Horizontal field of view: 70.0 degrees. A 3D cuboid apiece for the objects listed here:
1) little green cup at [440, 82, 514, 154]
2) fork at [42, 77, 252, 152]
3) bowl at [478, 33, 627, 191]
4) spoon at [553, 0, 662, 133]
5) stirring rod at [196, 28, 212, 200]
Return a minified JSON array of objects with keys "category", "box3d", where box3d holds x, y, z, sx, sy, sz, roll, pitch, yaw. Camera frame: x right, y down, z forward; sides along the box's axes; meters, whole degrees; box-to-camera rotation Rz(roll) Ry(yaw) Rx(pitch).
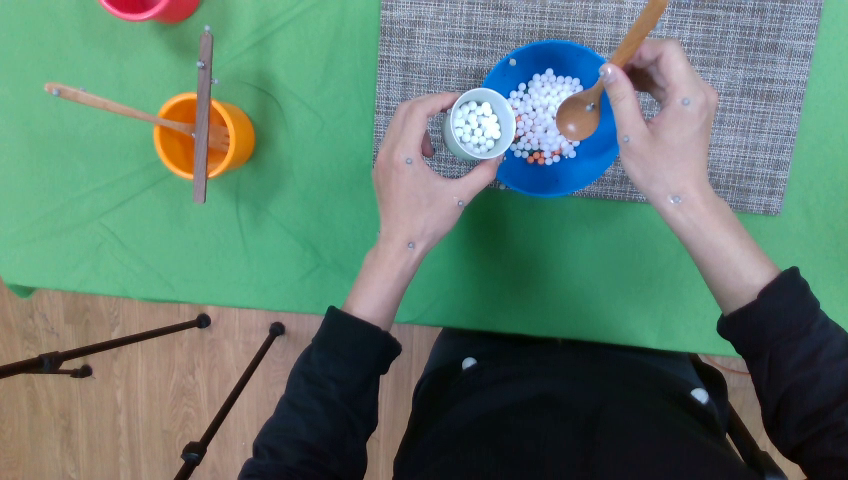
[{"category":"little green cup","box3d":[0.044,-0.105,0.534,0.062,0.038,0.061,1,88,-19]},{"category":"fork","box3d":[-0.282,-0.131,0.639,0.209,0.018,0.028,13,111,-41]},{"category":"bowl","box3d":[0.125,-0.129,0.624,0.151,0.076,0.152,1,102,7]},{"category":"spoon","box3d":[0.147,-0.137,0.494,0.041,0.194,0.021,42,77,6]},{"category":"stirring rod","box3d":[-0.229,-0.129,0.631,0.014,0.006,0.176,7,103,6]}]
